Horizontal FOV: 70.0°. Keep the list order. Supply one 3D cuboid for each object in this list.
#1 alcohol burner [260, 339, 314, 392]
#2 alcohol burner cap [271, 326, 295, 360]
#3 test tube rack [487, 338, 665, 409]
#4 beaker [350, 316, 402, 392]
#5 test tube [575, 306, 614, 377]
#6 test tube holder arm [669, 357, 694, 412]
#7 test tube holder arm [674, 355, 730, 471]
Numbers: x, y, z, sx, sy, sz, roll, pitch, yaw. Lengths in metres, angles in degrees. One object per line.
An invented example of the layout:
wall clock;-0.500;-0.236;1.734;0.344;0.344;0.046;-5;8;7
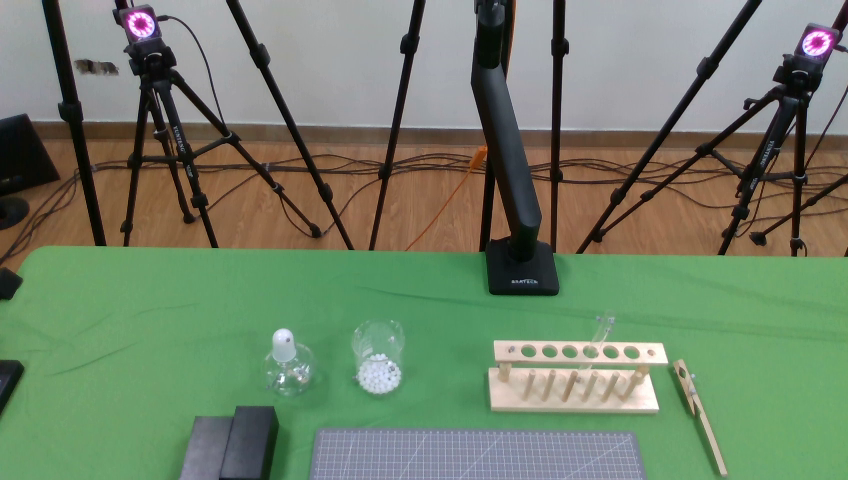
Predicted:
alcohol burner;-0.199;0.166;0.869;0.078;0.120;0.077;0;45;0
alcohol burner cap;-0.197;0.140;0.844;0.034;0.048;0.033;5;41;-4
test tube rack;0.217;0.194;0.877;0.242;0.086;0.066;1;47;-1
beaker;-0.066;0.168;0.882;0.073;0.101;0.084;32;53;25
test tube;0.238;0.147;0.854;0.017;0.151;0.017;4;43;-4
test tube holder arm;0.390;0.216;0.910;0.010;0.015;0.087;-28;44;20
test tube holder arm;0.400;0.246;0.878;0.013;0.015;0.176;-29;44;20
